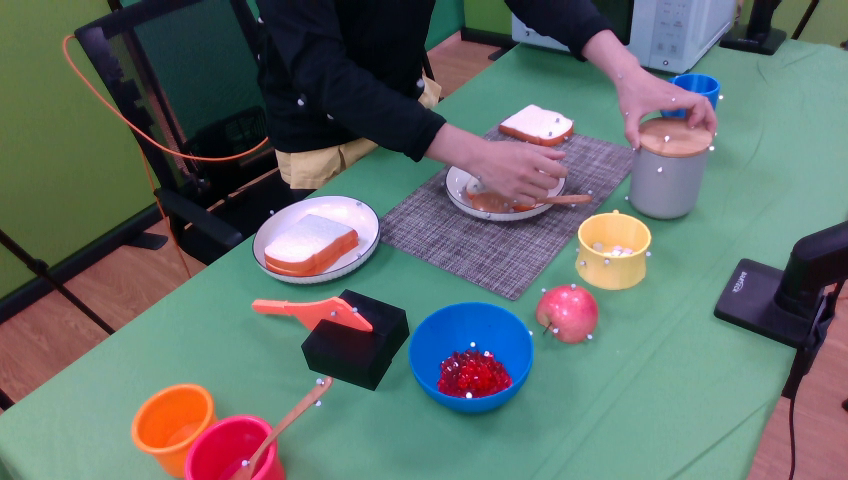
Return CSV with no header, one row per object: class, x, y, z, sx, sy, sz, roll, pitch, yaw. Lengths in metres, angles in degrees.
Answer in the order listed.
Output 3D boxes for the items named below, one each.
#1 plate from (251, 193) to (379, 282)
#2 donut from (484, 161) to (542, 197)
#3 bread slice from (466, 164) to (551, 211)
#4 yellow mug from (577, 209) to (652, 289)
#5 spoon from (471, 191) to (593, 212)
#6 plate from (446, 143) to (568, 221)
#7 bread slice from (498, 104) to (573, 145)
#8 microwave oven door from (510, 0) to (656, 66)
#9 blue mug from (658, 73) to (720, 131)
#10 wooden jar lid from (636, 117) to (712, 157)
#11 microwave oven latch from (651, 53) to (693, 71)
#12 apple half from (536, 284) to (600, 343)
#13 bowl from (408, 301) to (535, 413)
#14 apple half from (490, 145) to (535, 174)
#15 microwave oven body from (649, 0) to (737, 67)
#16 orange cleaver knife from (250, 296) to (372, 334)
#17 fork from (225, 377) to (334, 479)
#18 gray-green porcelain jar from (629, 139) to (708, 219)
plate,-0.174,-0.001,0.984,0.209,0.038,0.208,-4,40,4
donut,0.149,-0.110,1.016,0.099,0.048,0.098,-4,41,4
bread slice,0.141,-0.093,1.042,0.133,0.018,0.107,10,43,19
yellow mug,0.279,0.004,0.893,0.099,0.064,0.130,5,41,15
spoon,0.173,-0.063,0.975,0.193,0.022,0.041,-2,80,13
plate,0.142,-0.096,1.045,0.207,0.039,0.206,-4,41,4
bread slice,0.231,-0.231,1.205,0.105,0.019,0.130,-36,47,-29
microwave oven door,0.350,-0.539,1.348,0.353,0.245,0.039,24,50,31
blue mug,0.483,-0.250,1.127,0.082,0.106,0.115,-26,44,-19
wooden jar lid,0.378,-0.152,0.919,0.108,0.021,0.108,-3,41,3
microwave oven latch,0.533,-0.387,1.301,0.078,0.029,0.030,28,53,35
apple half,0.196,0.091,0.815,0.075,0.053,0.080,-22,42,-20
bowl,0.060,0.156,0.739,0.151,0.077,0.150,-4,40,4
apple half,0.146,-0.138,0.995,0.081,0.033,0.081,-3,33,3
microwave oven body,0.475,-0.602,1.411,0.438,0.261,0.327,23,50,32
orange cleaver knife,-0.158,0.103,0.828,0.210,0.078,0.012,-4,43,39
fork,-0.163,0.216,0.646,0.207,0.019,0.028,-49,42,16
gray-green porcelain jar,0.384,-0.106,0.959,0.106,0.127,0.105,-4,41,4
